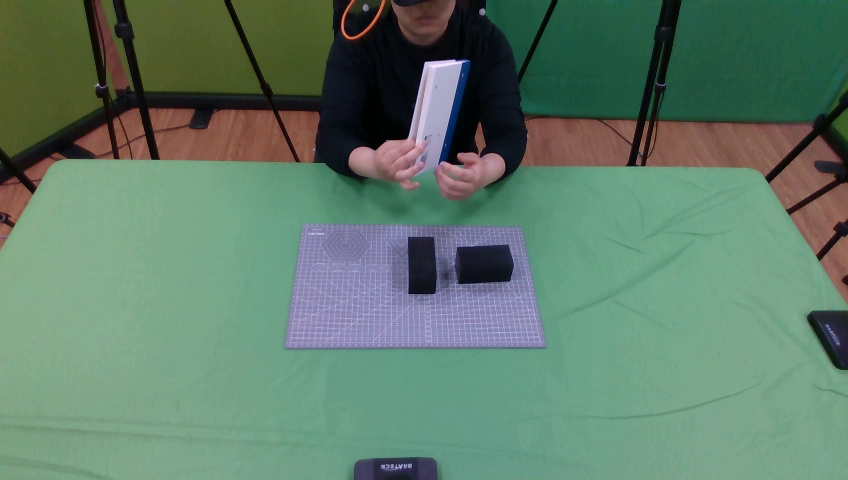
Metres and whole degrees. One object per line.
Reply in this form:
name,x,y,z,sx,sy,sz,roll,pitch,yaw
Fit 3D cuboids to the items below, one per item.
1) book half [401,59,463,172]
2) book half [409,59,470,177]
book half,0.016,-0.239,1.162,0.007,0.211,0.143,28,30,24
book half,0.028,-0.234,1.161,0.016,0.211,0.148,25,30,20
